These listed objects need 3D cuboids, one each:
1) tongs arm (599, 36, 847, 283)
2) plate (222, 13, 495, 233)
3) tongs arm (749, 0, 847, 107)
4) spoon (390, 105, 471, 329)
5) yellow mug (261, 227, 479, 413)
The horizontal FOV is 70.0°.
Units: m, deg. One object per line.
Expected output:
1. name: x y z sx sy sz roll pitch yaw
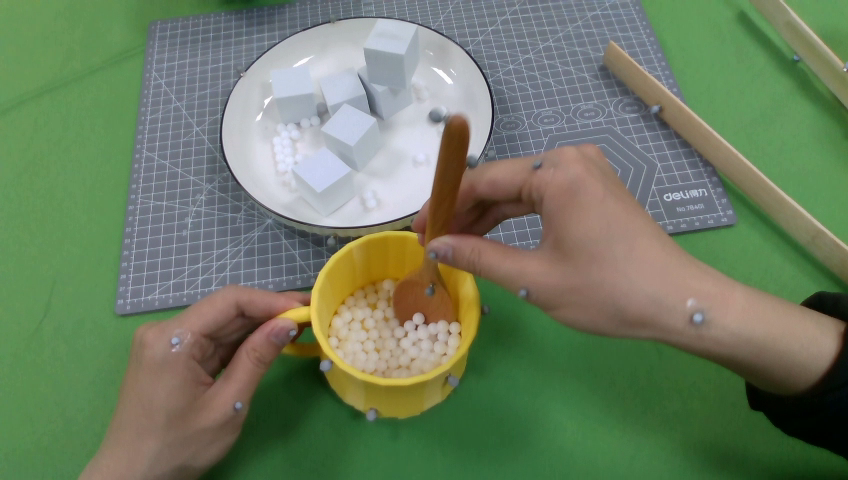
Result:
1. tongs arm: 0.262 -0.026 0.430 0.028 0.028 0.384 -32 66 -17
2. plate: -0.049 -0.092 0.474 0.207 0.039 0.206 -1 62 3
3. tongs arm: 0.334 -0.062 0.442 0.051 0.027 0.381 -21 64 -8
4. spoon: 0.005 0.001 0.326 0.041 0.195 0.021 22 60 6
5. yellow mug: -0.034 0.052 0.374 0.131 0.064 0.099 -6 59 -8
